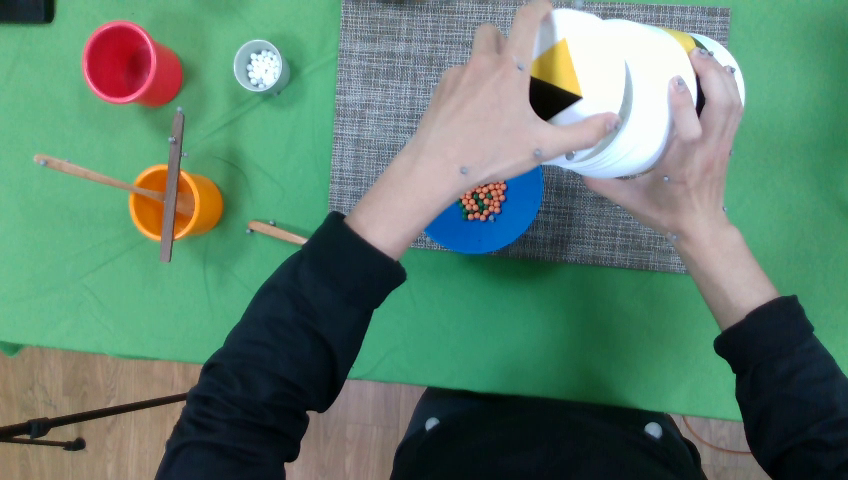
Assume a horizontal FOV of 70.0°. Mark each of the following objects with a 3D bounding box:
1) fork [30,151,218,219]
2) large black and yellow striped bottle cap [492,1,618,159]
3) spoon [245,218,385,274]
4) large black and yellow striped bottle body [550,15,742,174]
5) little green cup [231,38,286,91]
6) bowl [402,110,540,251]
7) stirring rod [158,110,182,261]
[{"bbox_3d":[-0.348,-0.065,0.719,0.209,0.018,0.028,19,101,-37],"label":"fork"},{"bbox_3d":[0.094,-0.120,0.460,0.019,0.114,0.115,-5,98,-36],"label":"large black and yellow striped bottle cap"},{"bbox_3d":[-0.138,0.001,0.756,0.193,0.021,0.042,16,110,6],"label":"spoon"},{"bbox_3d":[0.184,-0.127,0.542,0.129,0.185,0.131,13,108,47],"label":"large black and yellow striped bottle body"},{"bbox_3d":[-0.200,-0.212,0.743,0.061,0.038,0.061,1,94,9],"label":"little green cup"},{"bbox_3d":[0.056,-0.065,0.692,0.151,0.077,0.151,1,94,9],"label":"bowl"},{"bbox_3d":[-0.297,-0.063,0.709,0.014,0.006,0.176,7,95,7],"label":"stirring rod"}]
